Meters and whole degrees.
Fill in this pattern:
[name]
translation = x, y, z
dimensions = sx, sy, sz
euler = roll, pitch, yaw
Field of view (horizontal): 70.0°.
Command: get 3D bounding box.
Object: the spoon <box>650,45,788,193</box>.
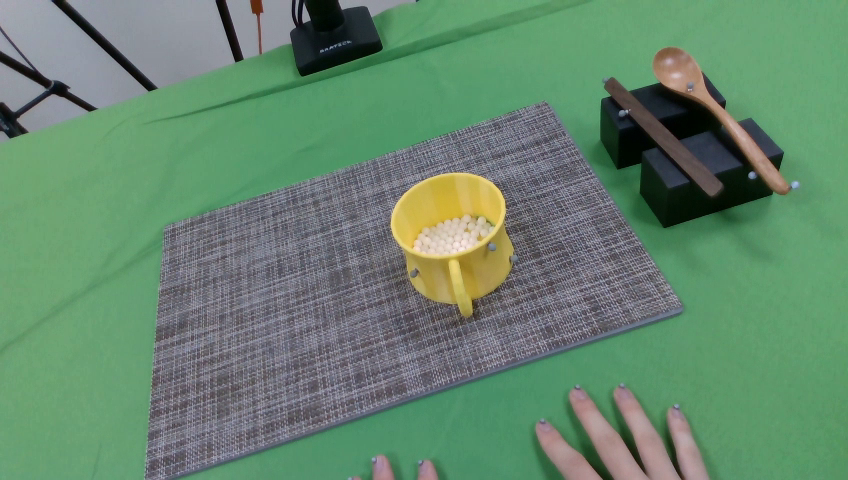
[spoon]
translation = 0.255, -0.111, 0.529
dimensions = 0.041, 0.022, 0.191
euler = -17, 50, -1

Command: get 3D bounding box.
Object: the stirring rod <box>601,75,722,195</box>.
[stirring rod]
translation = 0.204, -0.099, 0.536
dimensions = 0.014, 0.006, 0.174
euler = -49, 43, 25

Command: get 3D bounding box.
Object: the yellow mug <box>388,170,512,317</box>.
[yellow mug]
translation = 0.026, 0.007, 0.523
dimensions = 0.100, 0.064, 0.129
euler = -12, 49, 6
